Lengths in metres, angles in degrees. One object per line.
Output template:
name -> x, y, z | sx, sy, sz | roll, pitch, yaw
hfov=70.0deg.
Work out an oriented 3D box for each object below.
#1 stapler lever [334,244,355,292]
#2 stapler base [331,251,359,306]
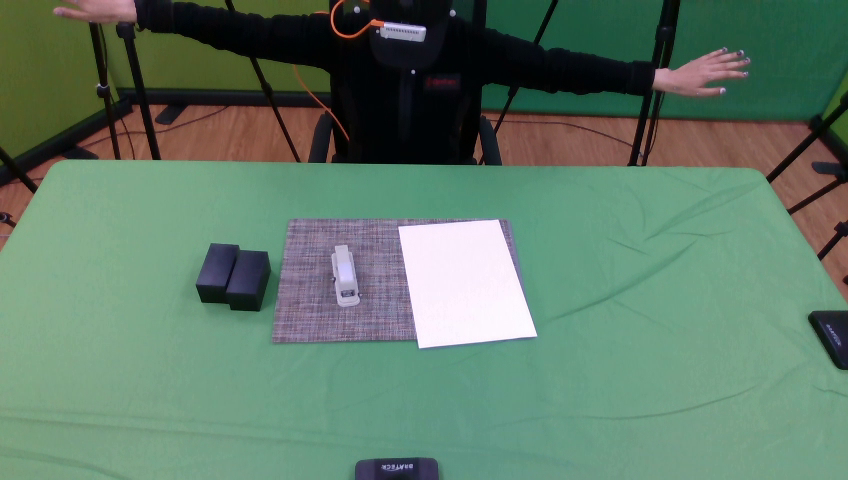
stapler lever -> -0.146, 0.045, 1.103 | 0.027, 0.040, 0.117 | -4, 45, -12
stapler base -> -0.147, 0.064, 1.119 | 0.041, 0.024, 0.129 | -4, 45, -13
